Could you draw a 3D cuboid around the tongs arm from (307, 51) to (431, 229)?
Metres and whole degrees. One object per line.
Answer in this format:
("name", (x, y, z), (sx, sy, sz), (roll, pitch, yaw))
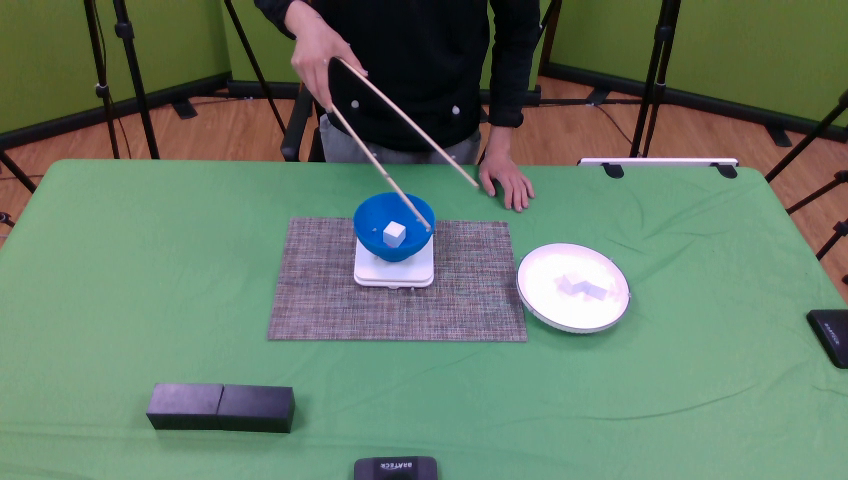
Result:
("tongs arm", (-0.093, -0.178, 1.056), (0.051, 0.026, 0.383), (-40, 78, 1))

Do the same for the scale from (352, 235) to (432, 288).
("scale", (-0.060, 0.010, 1.171), (0.149, 0.032, 0.199), (2, 46, -3))

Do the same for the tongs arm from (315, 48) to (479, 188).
("tongs arm", (-0.048, -0.217, 1.058), (0.386, 0.028, 0.028), (43, 93, 12))

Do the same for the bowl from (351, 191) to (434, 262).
("bowl", (-0.057, -0.013, 1.119), (0.151, 0.077, 0.150), (1, 46, -1))

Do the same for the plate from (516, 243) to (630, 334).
("plate", (0.272, 0.092, 1.120), (0.208, 0.039, 0.206), (2, 46, -2))
